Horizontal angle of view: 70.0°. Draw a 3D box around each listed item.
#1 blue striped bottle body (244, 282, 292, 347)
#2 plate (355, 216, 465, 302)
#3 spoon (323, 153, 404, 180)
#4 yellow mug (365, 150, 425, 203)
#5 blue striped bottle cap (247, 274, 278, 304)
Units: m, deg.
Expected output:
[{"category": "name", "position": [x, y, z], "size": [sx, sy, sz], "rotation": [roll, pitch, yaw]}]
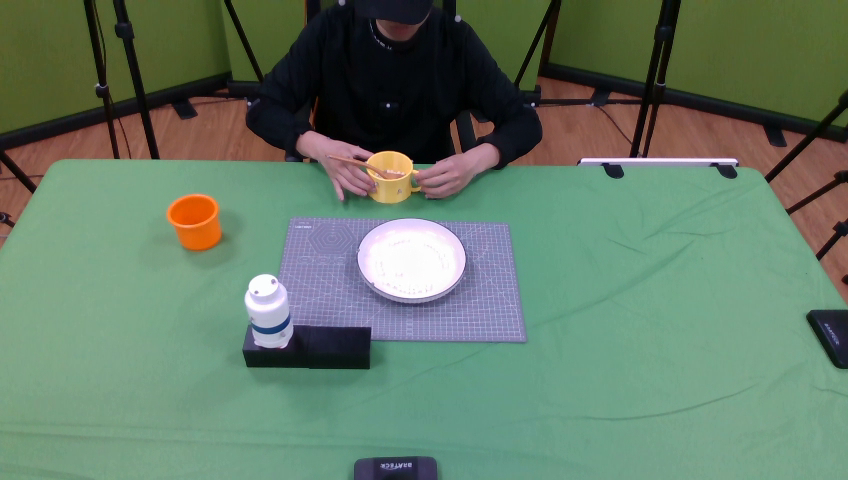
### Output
[{"category": "blue striped bottle body", "position": [-0.241, 0.108, 0.937], "size": [0.063, 0.121, 0.062], "rotation": [2, 46, -2]}, {"category": "plate", "position": [-0.027, 0.039, 1.144], "size": [0.208, 0.039, 0.206], "rotation": [2, 46, -2]}, {"category": "spoon", "position": [-0.119, -0.151, 1.259], "size": [0.195, 0.022, 0.041], "rotation": [19, 32, -31]}, {"category": "yellow mug", "position": [-0.061, -0.133, 1.291], "size": [0.131, 0.064, 0.099], "rotation": [9, 47, 3]}, {"category": "blue striped bottle cap", "position": [-0.239, 0.072, 0.900], "size": [0.044, 0.021, 0.044], "rotation": [4, 46, -4]}]
